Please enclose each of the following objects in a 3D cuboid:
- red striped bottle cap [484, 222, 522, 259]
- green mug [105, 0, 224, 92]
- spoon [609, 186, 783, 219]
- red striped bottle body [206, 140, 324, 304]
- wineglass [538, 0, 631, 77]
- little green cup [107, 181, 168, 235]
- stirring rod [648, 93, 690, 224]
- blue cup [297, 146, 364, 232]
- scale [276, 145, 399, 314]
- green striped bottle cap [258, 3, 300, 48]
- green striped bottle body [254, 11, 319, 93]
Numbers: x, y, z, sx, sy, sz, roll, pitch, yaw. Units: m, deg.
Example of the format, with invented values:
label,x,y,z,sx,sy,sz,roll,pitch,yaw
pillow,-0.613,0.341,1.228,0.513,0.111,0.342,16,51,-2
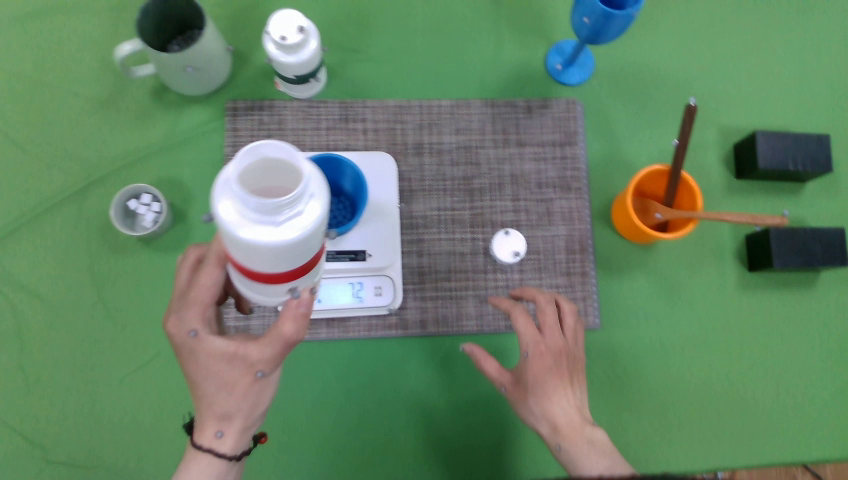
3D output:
label,x,y,z,sx,sy,sz,roll,pitch,yaw
red striped bottle cap,0.098,0.000,0.746,0.045,0.018,0.044,3,78,-11
green mug,-0.307,-0.227,0.711,0.125,0.105,0.092,-24,83,-8
spoon,0.309,-0.039,0.708,0.022,0.192,0.041,15,85,-46
red striped bottle body,-0.092,-0.010,0.360,0.063,0.120,0.062,4,64,-9
wineglass,0.189,-0.262,0.722,0.074,0.172,0.073,1,80,-4
little green cup,-0.332,-0.035,0.710,0.061,0.039,0.061,1,80,-6
stirring rod,0.288,-0.090,0.714,0.014,0.178,0.006,4,39,9
blue cup,-0.109,-0.047,0.664,0.093,0.100,0.092,1,82,-7
scale,-0.108,-0.015,0.725,0.149,0.031,0.200,-3,81,-5
green striped bottle cap,-0.159,-0.236,0.664,0.044,0.020,0.044,1,79,-5
green striped bottle body,-0.161,-0.226,0.715,0.063,0.119,0.063,1,80,-4
